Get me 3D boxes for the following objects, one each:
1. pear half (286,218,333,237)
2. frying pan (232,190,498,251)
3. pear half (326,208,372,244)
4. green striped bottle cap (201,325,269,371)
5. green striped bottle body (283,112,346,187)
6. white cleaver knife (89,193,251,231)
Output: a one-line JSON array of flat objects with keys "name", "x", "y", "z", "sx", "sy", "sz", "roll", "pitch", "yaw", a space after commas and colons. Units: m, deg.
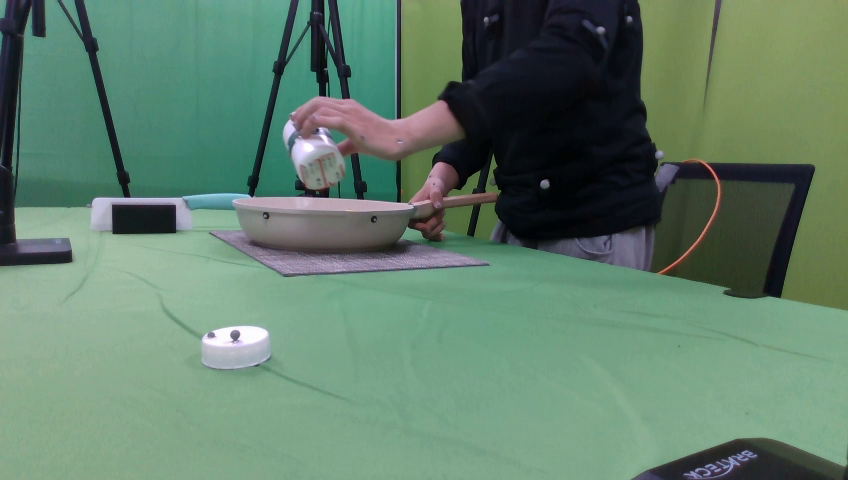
[{"name": "pear half", "x": -0.197, "y": -0.022, "z": 1.054, "sx": 0.088, "sy": 0.031, "sz": 0.070, "roll": -9, "pitch": 18, "yaw": -44}, {"name": "frying pan", "x": -0.073, "y": -0.051, "z": 1.048, "sx": 0.490, "sy": 0.102, "sz": 0.305, "roll": -11, "pitch": 13, "yaw": -27}, {"name": "pear half", "x": -0.128, "y": -0.026, "z": 1.018, "sx": 0.076, "sy": 0.056, "sz": 0.109, "roll": 5, "pitch": 4, "yaw": -19}, {"name": "green striped bottle cap", "x": -0.129, "y": 0.073, "z": 0.415, "sx": 0.044, "sy": 0.020, "sz": 0.044, "roll": 2, "pitch": 8, "yaw": 0}, {"name": "green striped bottle body", "x": -0.152, "y": -0.128, "z": 0.817, "sx": 0.063, "sy": 0.063, "sz": 0.118, "roll": -1, "pitch": 39, "yaw": -28}, {"name": "white cleaver knife", "x": -0.454, "y": -0.052, "z": 1.114, "sx": 0.288, "sy": 0.066, "sz": 0.021, "roll": -4, "pitch": 15, "yaw": -27}]
